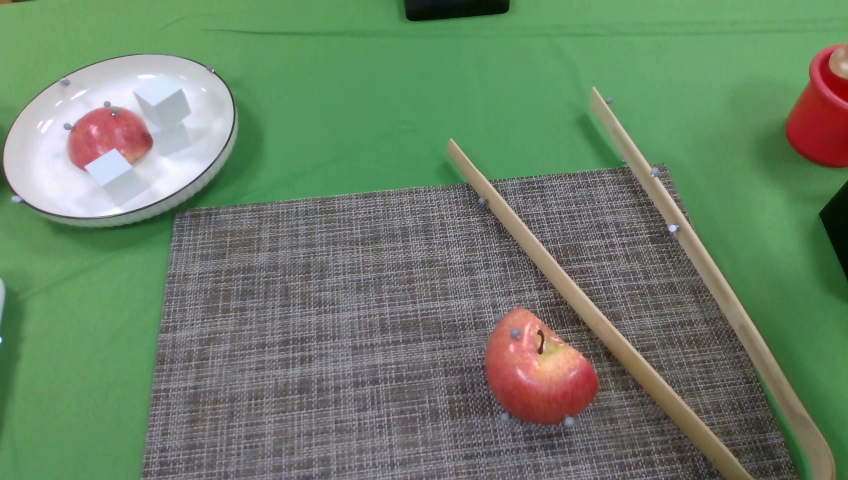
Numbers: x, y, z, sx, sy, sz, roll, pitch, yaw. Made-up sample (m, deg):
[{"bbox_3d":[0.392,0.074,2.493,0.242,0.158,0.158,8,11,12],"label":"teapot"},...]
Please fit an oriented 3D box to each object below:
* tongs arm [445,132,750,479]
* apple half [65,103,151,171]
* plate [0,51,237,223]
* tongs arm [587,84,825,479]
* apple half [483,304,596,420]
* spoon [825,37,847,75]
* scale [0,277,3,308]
[{"bbox_3d":[0.126,0.041,0.478,0.028,0.028,0.384,-26,61,-21],"label":"tongs arm"},{"bbox_3d":[-0.299,-0.103,0.567,0.081,0.033,0.080,-2,54,3],"label":"apple half"},{"bbox_3d":[-0.278,-0.096,0.569,0.209,0.038,0.207,0,56,0],"label":"plate"},{"bbox_3d":[0.203,0.013,0.495,0.051,0.027,0.380,-15,59,-11],"label":"tongs arm"},{"bbox_3d":[0.071,0.093,0.419,0.053,0.075,0.080,-41,69,-19],"label":"apple half"},{"bbox_3d":[0.420,-0.165,0.461,0.193,0.022,0.041,-9,61,48],"label":"spoon"},{"bbox_3d":[-0.394,0.113,0.435,0.149,0.032,0.199,-10,58,-6],"label":"scale"}]
